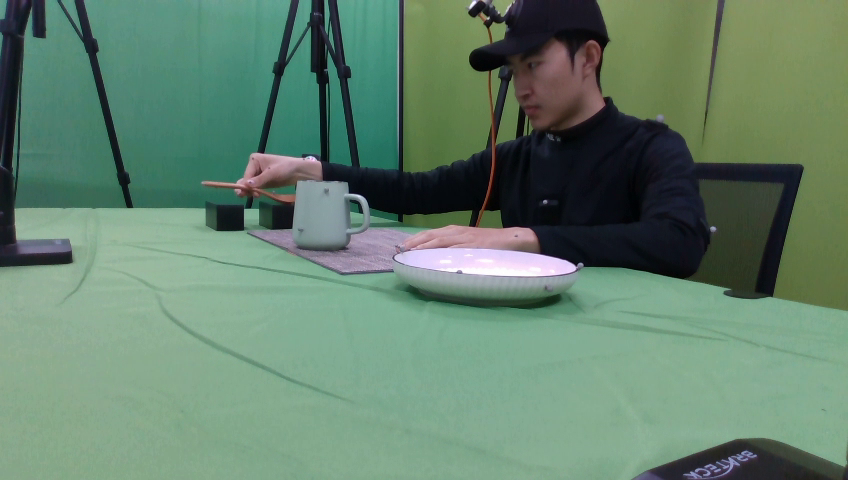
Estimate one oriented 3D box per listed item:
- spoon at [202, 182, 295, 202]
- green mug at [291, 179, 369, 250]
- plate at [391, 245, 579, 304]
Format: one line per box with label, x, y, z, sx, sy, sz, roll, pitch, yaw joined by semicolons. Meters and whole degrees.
spoon;-0.342;-0.100;1.212;0.195;0.021;0.041;11;19;-27
green mug;-0.144;-0.040;0.944;0.125;0.105;0.093;4;7;16
plate;0.066;0.038;0.683;0.209;0.038;0.209;2;7;0
